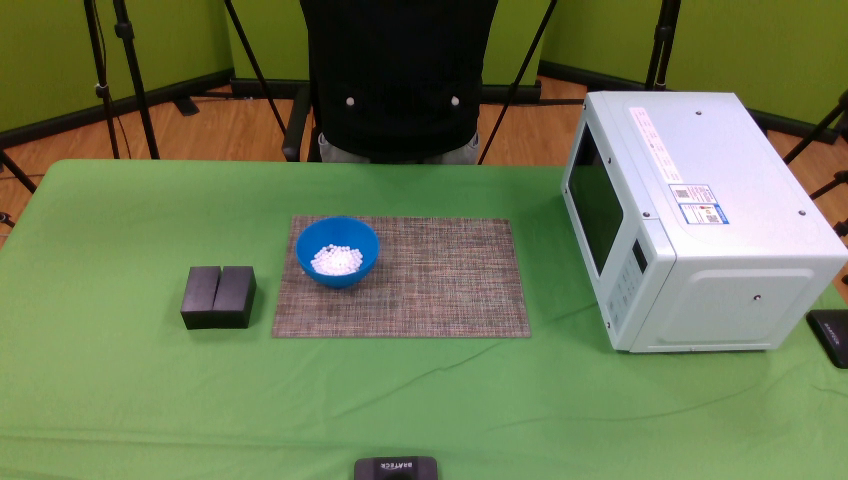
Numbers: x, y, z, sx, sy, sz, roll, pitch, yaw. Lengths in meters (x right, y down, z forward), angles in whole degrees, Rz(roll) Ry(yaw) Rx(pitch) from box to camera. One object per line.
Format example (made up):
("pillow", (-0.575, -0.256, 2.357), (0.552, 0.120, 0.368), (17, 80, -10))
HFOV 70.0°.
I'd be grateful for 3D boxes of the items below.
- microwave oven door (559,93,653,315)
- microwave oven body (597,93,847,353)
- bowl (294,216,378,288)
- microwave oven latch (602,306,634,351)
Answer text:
("microwave oven door", (0.327, -0.074, 1.123), (0.039, 0.245, 0.353), (-1, 46, -5))
("microwave oven body", (0.475, -0.041, 1.109), (0.326, 0.261, 0.438), (-1, 45, -4))
("bowl", (-0.158, 0.036, 1.110), (0.151, 0.077, 0.150), (3, 45, -2))
("microwave oven latch", (0.332, 0.153, 1.044), (0.030, 0.029, 0.078), (0, 45, -4))
